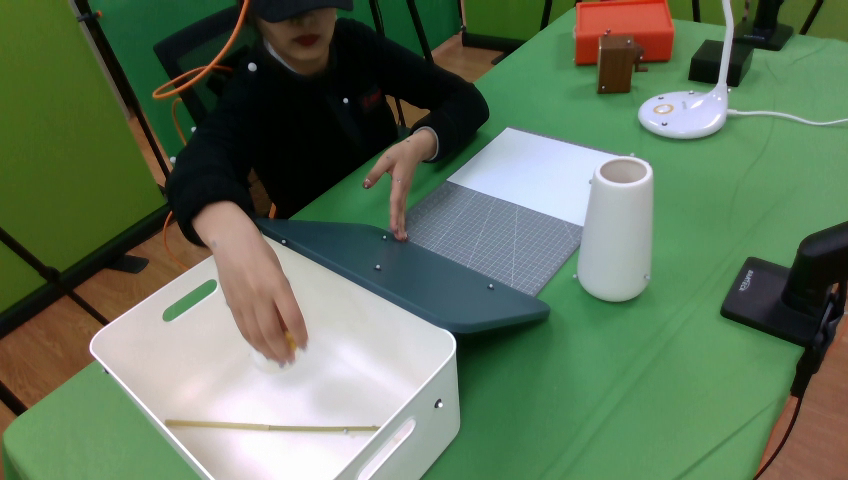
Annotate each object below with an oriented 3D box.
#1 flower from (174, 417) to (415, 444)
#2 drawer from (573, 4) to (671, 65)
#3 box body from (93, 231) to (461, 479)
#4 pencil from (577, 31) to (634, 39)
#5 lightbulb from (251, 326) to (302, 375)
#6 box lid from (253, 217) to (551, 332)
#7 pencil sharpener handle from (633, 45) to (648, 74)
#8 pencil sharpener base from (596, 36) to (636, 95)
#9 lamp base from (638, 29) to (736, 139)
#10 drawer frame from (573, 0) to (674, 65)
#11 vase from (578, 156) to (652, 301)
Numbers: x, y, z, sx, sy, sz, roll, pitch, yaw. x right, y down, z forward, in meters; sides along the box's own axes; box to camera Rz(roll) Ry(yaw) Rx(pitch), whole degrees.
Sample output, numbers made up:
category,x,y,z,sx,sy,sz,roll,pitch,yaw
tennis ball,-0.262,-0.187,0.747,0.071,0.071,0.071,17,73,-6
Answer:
category,x,y,z,sx,sy,sz,roll,pitch,yaw
flower,-0.153,0.228,0.743,0.360,0.038,0.044,-2,42,16
drawer,0.461,-0.490,1.434,0.211,0.073,0.194,2,40,12
box body,-0.162,0.170,0.708,0.361,0.161,0.255,25,50,34
pencil,0.431,-0.489,1.443,0.012,0.012,0.192,-25,30,-18
lightbulb,-0.169,0.127,0.712,0.060,0.107,0.059,8,71,-23
box lid,-0.031,0.037,0.833,0.368,0.015,0.265,24,12,33
pencil sharpener handle,0.454,-0.378,1.262,0.030,0.068,0.036,1,47,13
pencil sharpener base,0.406,-0.369,1.280,0.076,0.107,0.061,1,41,13
lamp base,0.501,-0.302,1.125,0.179,0.181,0.160,-4,40,3
drawer frame,0.464,-0.492,1.434,0.213,0.083,0.201,1,40,12
vase,0.261,-0.011,0.812,0.098,0.201,0.097,-4,40,4
